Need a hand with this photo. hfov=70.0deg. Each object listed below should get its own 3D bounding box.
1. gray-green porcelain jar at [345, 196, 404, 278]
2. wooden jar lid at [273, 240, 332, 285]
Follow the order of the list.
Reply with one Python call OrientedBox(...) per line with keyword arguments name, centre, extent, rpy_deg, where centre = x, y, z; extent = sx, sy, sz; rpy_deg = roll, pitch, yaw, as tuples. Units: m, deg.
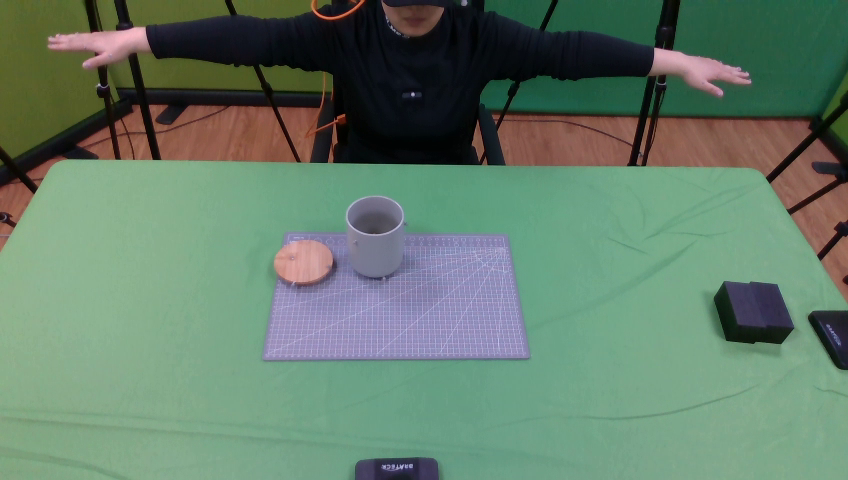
OrientedBox(name="gray-green porcelain jar", centre=(-0.091, -0.001, 1.117), extent=(0.106, 0.127, 0.105), rpy_deg=(2, 46, -2))
OrientedBox(name="wooden jar lid", centre=(-0.227, 0.044, 1.137), extent=(0.108, 0.021, 0.107), rpy_deg=(3, 47, -3))
